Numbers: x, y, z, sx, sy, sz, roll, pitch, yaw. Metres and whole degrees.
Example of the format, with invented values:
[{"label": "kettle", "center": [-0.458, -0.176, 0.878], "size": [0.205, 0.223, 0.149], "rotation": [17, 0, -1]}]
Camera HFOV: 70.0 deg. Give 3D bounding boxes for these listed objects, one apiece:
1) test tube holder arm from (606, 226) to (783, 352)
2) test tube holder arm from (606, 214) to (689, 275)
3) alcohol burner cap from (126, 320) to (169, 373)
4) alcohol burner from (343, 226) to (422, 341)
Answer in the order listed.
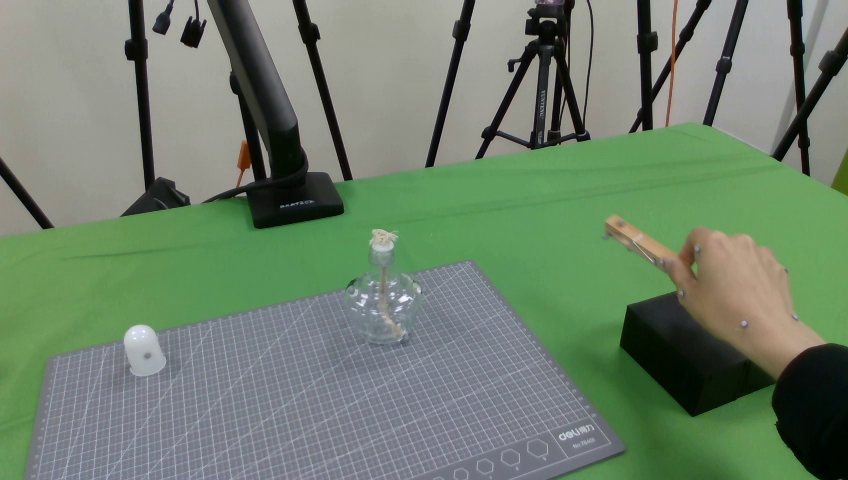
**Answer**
[{"label": "test tube holder arm", "center": [0.226, 0.033, 0.524], "size": [0.015, 0.013, 0.176], "rotation": [-40, 51, -5]}, {"label": "test tube holder arm", "center": [0.200, 0.005, 0.548], "size": [0.015, 0.010, 0.087], "rotation": [-41, 49, -4]}, {"label": "alcohol burner cap", "center": [-0.260, 0.097, 0.563], "size": [0.034, 0.048, 0.033], "rotation": [-1, 32, 1]}, {"label": "alcohol burner", "center": [-0.040, 0.038, 0.586], "size": [0.078, 0.120, 0.077], "rotation": [1, 32, 0]}]
